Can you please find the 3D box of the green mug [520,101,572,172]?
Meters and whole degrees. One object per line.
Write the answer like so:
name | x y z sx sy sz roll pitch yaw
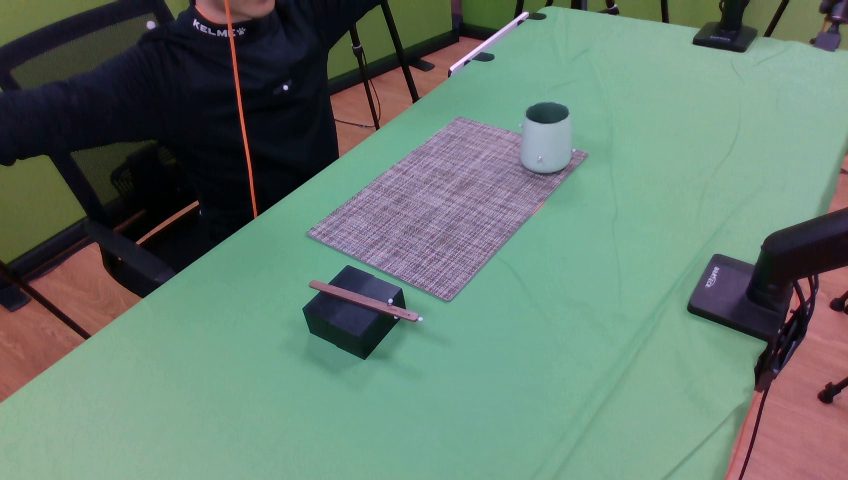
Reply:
green mug | 0.220 -0.194 1.093 0.092 0.105 0.125 -2 41 7

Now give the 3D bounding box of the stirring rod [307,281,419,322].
stirring rod | -0.086 0.082 0.822 0.175 0.006 0.014 15 47 24
